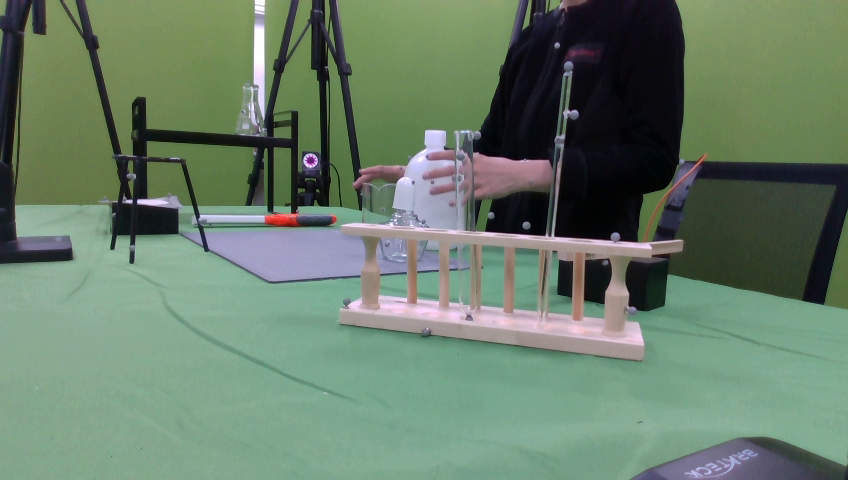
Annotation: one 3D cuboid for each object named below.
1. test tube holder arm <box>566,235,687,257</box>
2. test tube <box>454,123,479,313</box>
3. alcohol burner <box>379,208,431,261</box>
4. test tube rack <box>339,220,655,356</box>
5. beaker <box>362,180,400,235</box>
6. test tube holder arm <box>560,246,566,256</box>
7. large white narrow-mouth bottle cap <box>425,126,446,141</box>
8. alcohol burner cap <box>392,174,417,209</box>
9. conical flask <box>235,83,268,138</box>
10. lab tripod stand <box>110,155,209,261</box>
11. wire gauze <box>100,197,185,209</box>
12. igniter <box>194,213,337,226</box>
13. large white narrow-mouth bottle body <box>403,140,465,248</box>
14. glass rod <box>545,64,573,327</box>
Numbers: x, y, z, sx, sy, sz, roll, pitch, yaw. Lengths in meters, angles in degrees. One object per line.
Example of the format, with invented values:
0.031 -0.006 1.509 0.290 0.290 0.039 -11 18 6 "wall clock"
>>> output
0.215 0.006 0.630 0.179 0.015 0.013 -3 9 -31 "test tube holder arm"
0.034 -0.016 0.477 0.017 0.150 0.017 -2 9 1 "test tube"
-0.027 -0.031 0.838 0.078 0.119 0.078 0 6 0 "alcohol burner"
0.056 0.032 0.495 0.242 0.085 0.067 4 7 15 "test tube rack"
-0.081 -0.062 1.142 0.074 0.100 0.084 2 8 1 "beaker"
0.173 0.007 0.612 0.088 0.015 0.010 -3 9 -30 "test tube holder arm"
0.019 -0.173 0.987 0.038 0.024 0.037 2 7 0 "large white narrow-mouth bottle cap"
-0.025 -0.067 0.834 0.034 0.048 0.034 9 7 -1 "alcohol burner cap"
-0.402 -0.299 1.406 0.075 0.122 0.075 2 7 0 "conical flask"
-0.361 -0.046 0.806 0.148 0.131 0.148 2 5 0 "lab tripod stand"
-0.469 -0.062 1.008 0.126 0.011 0.121 -2 8 -25 "wire gauze"
-0.306 -0.041 1.197 0.278 0.025 0.057 -2 -2 -30 "igniter"
0.017 -0.088 0.998 0.102 0.194 0.102 2 8 0 "large white narrow-mouth bottle body"
0.101 -0.028 0.453 0.008 0.199 0.008 1 14 0 "glass rod"
